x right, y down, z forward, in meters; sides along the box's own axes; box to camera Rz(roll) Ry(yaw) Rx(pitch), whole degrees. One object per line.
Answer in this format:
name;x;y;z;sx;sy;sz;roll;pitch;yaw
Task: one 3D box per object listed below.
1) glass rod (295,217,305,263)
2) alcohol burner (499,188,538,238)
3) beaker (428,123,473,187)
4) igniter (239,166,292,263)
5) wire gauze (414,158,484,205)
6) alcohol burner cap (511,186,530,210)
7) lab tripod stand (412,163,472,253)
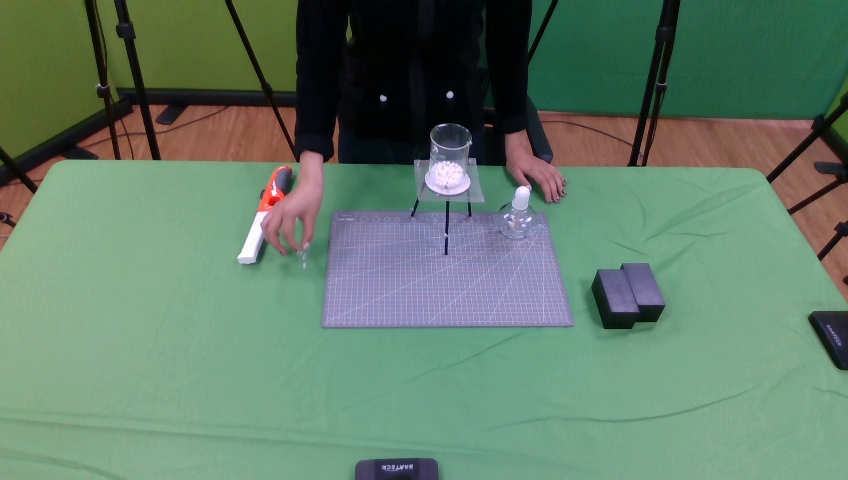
glass rod;-0.235;-0.004;1.147;0.008;0.008;0.198;-9;27;-11
alcohol burner;0.189;-0.060;1.202;0.078;0.120;0.077;2;48;-1
beaker;0.044;-0.154;1.109;0.074;0.101;0.083;-25;54;-25
igniter;-0.318;-0.060;1.229;0.057;0.025;0.275;-2;45;10
wire gauze;0.045;-0.113;1.137;0.125;0.011;0.120;2;48;-6
alcohol burner cap;0.190;-0.085;1.176;0.034;0.048;0.033;3;51;-3
lab tripod stand;0.043;-0.069;1.187;0.148;0.132;0.147;3;47;-3
